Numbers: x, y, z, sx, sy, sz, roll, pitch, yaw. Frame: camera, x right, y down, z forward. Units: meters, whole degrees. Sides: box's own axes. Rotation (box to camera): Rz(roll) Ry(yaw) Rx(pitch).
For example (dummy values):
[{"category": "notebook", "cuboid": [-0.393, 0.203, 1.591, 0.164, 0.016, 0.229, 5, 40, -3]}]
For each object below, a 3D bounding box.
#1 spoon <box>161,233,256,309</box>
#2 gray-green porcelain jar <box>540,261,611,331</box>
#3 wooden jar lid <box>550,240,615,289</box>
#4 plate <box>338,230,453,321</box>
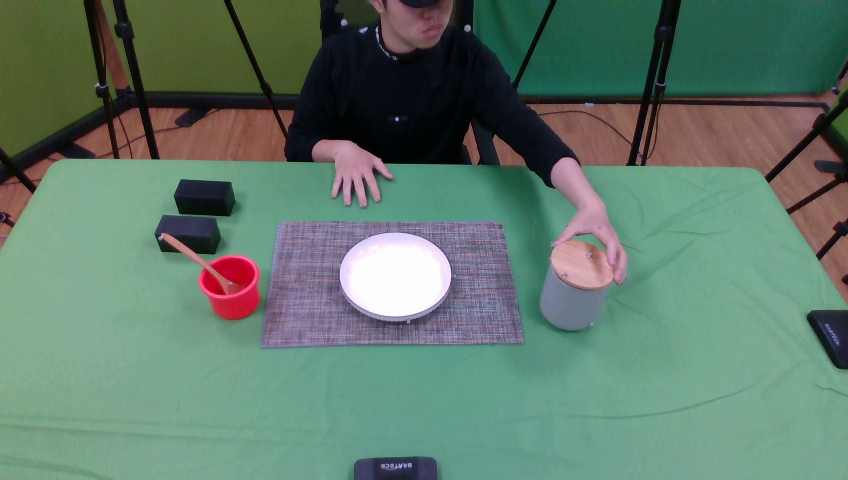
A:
[{"category": "spoon", "cuboid": [-0.366, 0.051, 1.036, 0.194, 0.021, 0.041, 47, 45, -21]}, {"category": "gray-green porcelain jar", "cuboid": [0.262, 0.088, 1.058, 0.106, 0.127, 0.105, 2, 46, -2]}, {"category": "wooden jar lid", "cuboid": [0.263, 0.043, 1.012, 0.108, 0.021, 0.107, 4, 44, -4]}, {"category": "plate", "cuboid": [-0.052, 0.068, 1.111, 0.208, 0.039, 0.206, 2, 46, -2]}]
